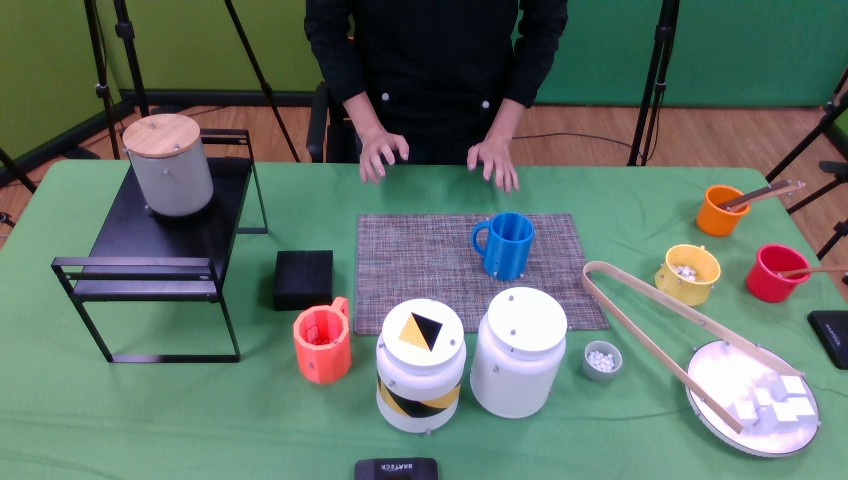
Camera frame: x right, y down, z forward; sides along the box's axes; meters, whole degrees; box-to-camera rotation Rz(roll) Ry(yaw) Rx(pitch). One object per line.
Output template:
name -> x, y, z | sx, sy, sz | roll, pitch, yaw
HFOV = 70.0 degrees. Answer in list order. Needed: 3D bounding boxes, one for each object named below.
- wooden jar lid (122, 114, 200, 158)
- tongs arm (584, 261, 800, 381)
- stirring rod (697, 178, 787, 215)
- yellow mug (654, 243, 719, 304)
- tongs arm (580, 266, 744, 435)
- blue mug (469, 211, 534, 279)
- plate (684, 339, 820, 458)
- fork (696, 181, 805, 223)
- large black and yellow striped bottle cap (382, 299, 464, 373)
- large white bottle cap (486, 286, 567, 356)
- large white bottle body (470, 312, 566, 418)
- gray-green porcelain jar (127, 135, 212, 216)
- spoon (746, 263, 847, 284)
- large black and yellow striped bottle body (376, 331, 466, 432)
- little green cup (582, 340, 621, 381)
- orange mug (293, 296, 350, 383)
wooden jar lid -> -0.390, -0.152, 0.904 | 0.108, 0.021, 0.107 | 3, 45, -3
tongs arm -> 0.452, 0.137, 1.064 | 0.051, 0.027, 0.382 | -34, 50, -27
stirring rod -> 0.650, -0.088, 1.245 | 0.006, 0.176, 0.014 | 29, 49, -39
yellow mug -> 0.503, 0.054, 1.154 | 0.099, 0.064, 0.130 | 28, 50, 22
tongs arm -> 0.384, 0.173, 1.028 | 0.028, 0.028, 0.385 | -25, 46, -15
blue mug -> 0.141, 0.005, 1.140 | 0.116, 0.106, 0.082 | 18, 48, 13
plate -> 0.523, 0.256, 0.982 | 0.208, 0.039, 0.206 | 2, 46, -2
fork -> 0.659, -0.077, 1.232 | 0.207, 0.019, 0.028 | -26, 35, 34
large black and yellow striped bottle cap -> -0.002, 0.132, 0.843 | 0.115, 0.019, 0.114 | 2, 46, -1
large white bottle cap -> 0.147, 0.114, 0.869 | 0.115, 0.018, 0.114 | 3, 46, -3
large white bottle body -> 0.143, 0.174, 0.930 | 0.131, 0.185, 0.130 | 2, 46, -2
gray-green porcelain jar -> -0.394, -0.109, 0.949 | 0.106, 0.127, 0.105 | 3, 46, -3
spoon -> 0.696, 0.057, 1.113 | 0.193, 0.022, 0.041 | -16, 27, 48
large black and yellow striped bottle body -> -0.007, 0.189, 0.905 | 0.131, 0.185, 0.130 | 2, 46, -2
little green cup -> 0.295, 0.204, 1.014 | 0.061, 0.039, 0.061 | 2, 45, -2
orange mug -> -0.157, 0.154, 0.985 | 0.083, 0.101, 0.125 | 17, 52, 11
